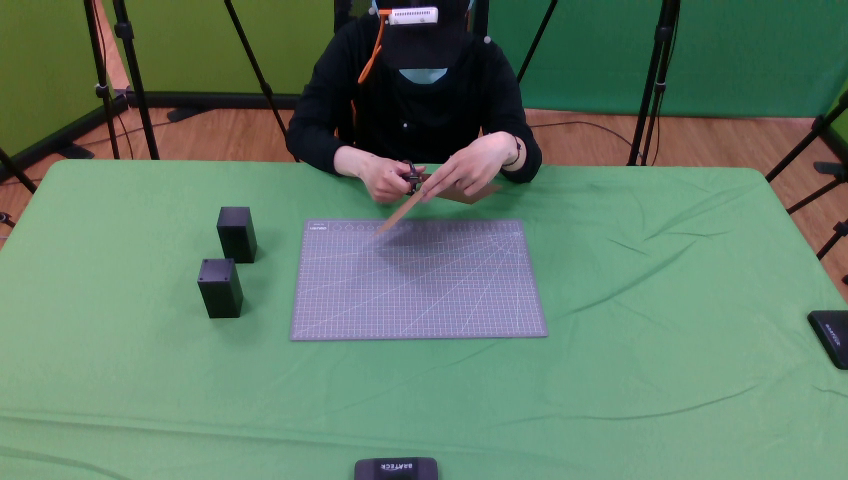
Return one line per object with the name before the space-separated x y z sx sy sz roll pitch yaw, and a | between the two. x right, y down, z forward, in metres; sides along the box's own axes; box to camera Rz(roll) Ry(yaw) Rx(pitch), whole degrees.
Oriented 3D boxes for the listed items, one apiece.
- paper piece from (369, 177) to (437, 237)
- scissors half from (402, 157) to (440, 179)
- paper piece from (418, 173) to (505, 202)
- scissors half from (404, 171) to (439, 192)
paper piece | -0.041 -0.062 1.139 0.004 0.135 0.135 46 67 -11
scissors half | -0.008 -0.136 1.173 0.013 0.040 0.174 -17 19 -20
paper piece | 0.069 -0.102 1.192 0.138 0.136 0.008 -1 74 -24
scissors half | -0.005 -0.116 1.176 0.013 0.175 0.040 -11 91 -21
